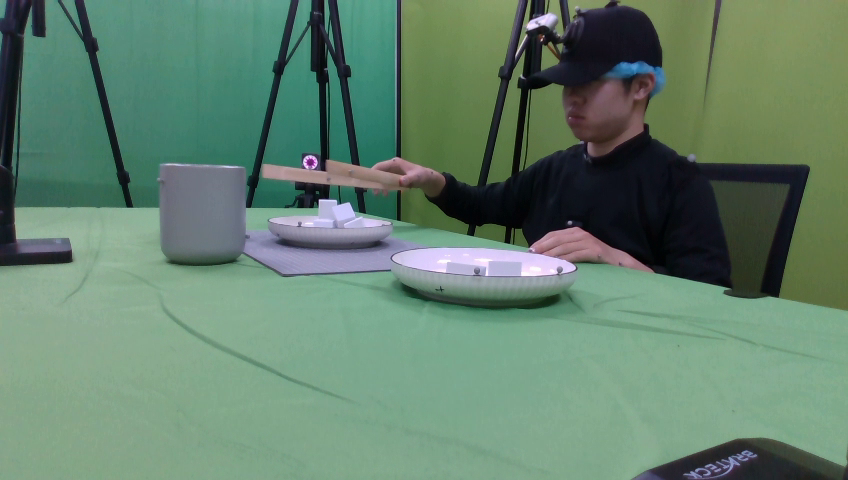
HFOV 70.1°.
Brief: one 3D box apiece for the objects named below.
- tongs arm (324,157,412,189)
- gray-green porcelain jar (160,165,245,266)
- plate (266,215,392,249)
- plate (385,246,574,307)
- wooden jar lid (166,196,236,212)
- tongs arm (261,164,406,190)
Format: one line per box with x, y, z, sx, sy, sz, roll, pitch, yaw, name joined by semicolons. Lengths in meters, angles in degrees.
-0.098;-0.128;1.194;0.028;0.027;0.389;-7;-2;21;tongs arm
-0.291;-0.034;0.799;0.106;0.126;0.106;2;8;0;gray-green porcelain jar
-0.159;-0.015;1.019;0.209;0.038;0.209;3;7;0;plate
0.060;0.041;0.678;0.208;0.039;0.207;3;7;0;plate
-0.369;-0.060;1.001;0.108;0.020;0.108;3;6;0;wooden jar lid
-0.166;-0.126;1.231;0.050;0.026;0.387;-4;-2;33;tongs arm
